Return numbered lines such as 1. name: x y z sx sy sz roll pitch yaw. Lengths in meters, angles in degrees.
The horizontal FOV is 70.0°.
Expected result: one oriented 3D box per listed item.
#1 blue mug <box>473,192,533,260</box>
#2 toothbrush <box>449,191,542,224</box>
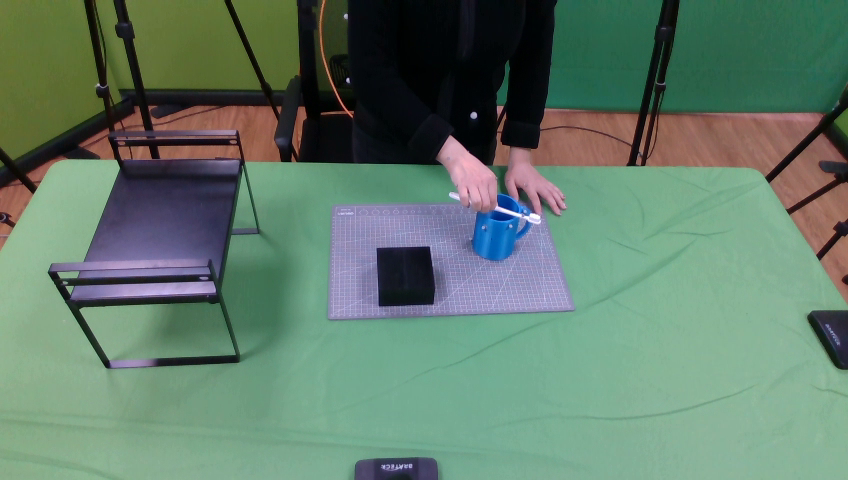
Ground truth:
1. blue mug: 0.157 -0.029 1.173 0.117 0.106 0.082 -8 47 -11
2. toothbrush: 0.131 -0.063 1.121 0.181 0.017 0.014 18 69 17
